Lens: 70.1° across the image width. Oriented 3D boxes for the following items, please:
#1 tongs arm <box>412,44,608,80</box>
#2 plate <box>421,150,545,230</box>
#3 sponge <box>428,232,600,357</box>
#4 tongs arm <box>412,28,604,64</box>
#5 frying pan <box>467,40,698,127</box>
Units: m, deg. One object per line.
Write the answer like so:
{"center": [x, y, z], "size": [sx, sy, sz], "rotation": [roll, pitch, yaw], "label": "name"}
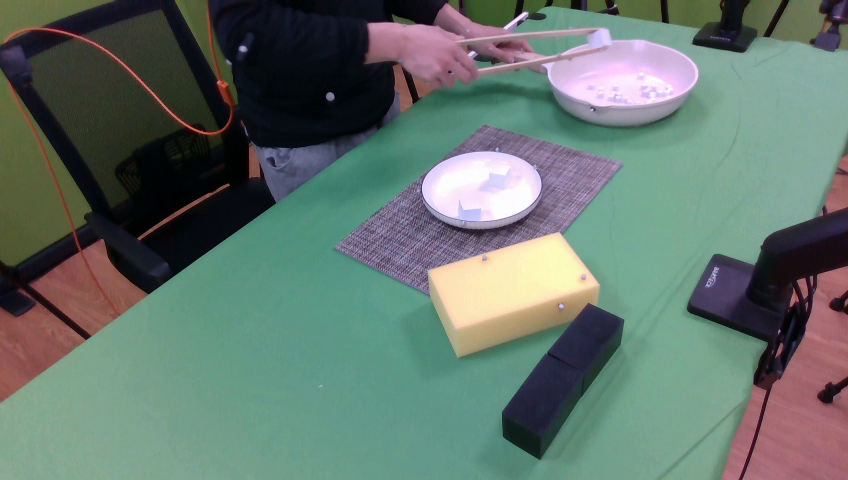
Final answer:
{"center": [0.164, -0.332, 1.084], "size": [0.387, 0.051, 0.026], "rotation": [-17, 3, -19], "label": "tongs arm"}
{"center": [0.100, -0.082, 1.031], "size": [0.207, 0.039, 0.206], "rotation": [-4, 40, 4], "label": "plate"}
{"center": [0.120, 0.071, 0.834], "size": [0.207, 0.061, 0.117], "rotation": [-16, 43, -12], "label": "sponge"}
{"center": [0.158, -0.355, 1.084], "size": [0.389, 0.028, 0.027], "rotation": [-13, 5, -20], "label": "tongs arm"}
{"center": [0.312, -0.359, 1.277], "size": [0.485, 0.103, 0.307], "rotation": [23, 48, 19], "label": "frying pan"}
